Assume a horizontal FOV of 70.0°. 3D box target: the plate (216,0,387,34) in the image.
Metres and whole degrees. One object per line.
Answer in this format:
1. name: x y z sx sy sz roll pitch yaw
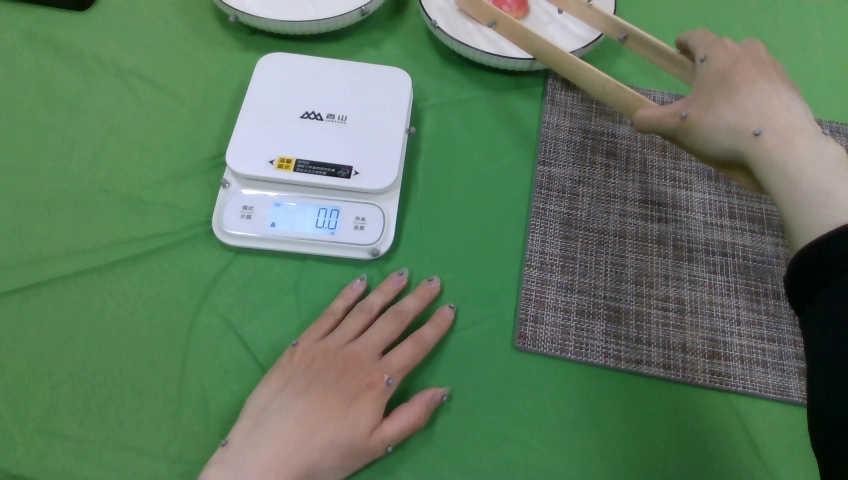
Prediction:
1. plate: -0.128 -0.289 0.648 0.208 0.039 0.205 2 59 -2

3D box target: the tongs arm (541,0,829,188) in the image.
1. tongs arm: 0.188 -0.169 0.547 0.051 0.027 0.380 -30 53 -20

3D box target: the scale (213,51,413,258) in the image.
1. scale: -0.091 -0.081 0.531 0.149 0.032 0.199 6 60 0

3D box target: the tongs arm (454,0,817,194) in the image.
1. tongs arm: 0.151 -0.147 0.534 0.028 0.028 0.383 -30 53 -24

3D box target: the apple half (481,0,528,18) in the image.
1. apple half: 0.075 -0.267 0.639 0.081 0.033 0.080 0 57 0

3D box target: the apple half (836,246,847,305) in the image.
1. apple half: 0.355 0.031 0.466 0.053 0.075 0.080 -24 67 -12

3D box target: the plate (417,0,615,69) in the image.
1. plate: 0.095 -0.252 0.641 0.209 0.038 0.207 2 59 -3
